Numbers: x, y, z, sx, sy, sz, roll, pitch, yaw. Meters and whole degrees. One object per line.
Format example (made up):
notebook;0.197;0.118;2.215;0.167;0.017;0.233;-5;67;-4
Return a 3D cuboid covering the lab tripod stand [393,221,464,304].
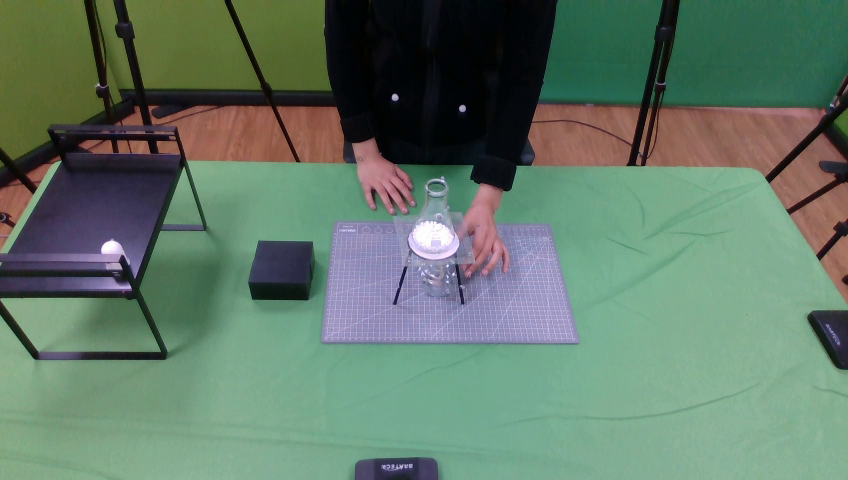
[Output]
lab tripod stand;0.010;0.045;1.075;0.148;0.132;0.147;2;48;-2

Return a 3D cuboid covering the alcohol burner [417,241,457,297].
alcohol burner;0.026;0.046;1.089;0.078;0.120;0.077;1;47;-1

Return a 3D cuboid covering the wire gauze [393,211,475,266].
wire gauze;0.015;-0.002;1.029;0.125;0.011;0.120;-6;45;-6

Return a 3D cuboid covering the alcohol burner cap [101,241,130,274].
alcohol burner cap;-0.449;0.022;0.878;0.034;0.048;0.033;3;45;-2

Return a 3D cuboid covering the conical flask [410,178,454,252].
conical flask;0.016;-0.043;0.986;0.075;0.122;0.075;2;47;-2
